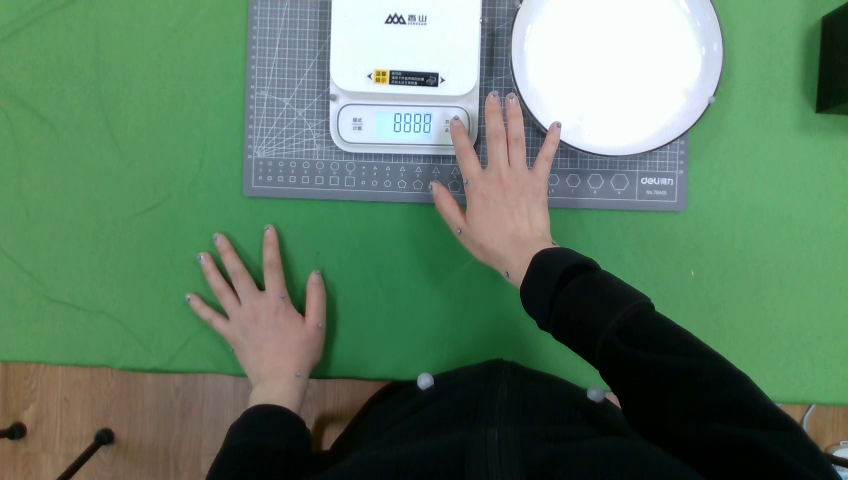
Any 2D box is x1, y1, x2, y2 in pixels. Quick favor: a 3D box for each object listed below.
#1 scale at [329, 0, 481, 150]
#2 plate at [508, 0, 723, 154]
[{"bbox_3d":[-0.019,-0.193,0.601,0.149,0.031,0.201,2,91,0],"label":"scale"},{"bbox_3d":[0.185,-0.186,0.599,0.209,0.038,0.209,0,90,-1],"label":"plate"}]
